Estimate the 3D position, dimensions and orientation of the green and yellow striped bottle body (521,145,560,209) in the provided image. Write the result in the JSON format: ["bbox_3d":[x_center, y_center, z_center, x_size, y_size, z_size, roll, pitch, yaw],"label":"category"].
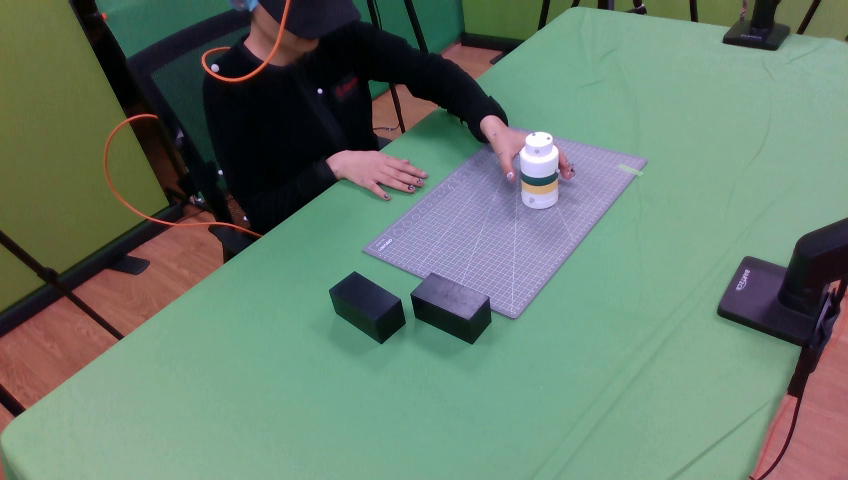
[{"bbox_3d":[0.193,-0.116,1.002,0.063,0.120,0.063,-6,40,5],"label":"green and yellow striped bottle body"}]

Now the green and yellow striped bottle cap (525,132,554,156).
[{"bbox_3d":[0.185,-0.154,0.968,0.045,0.020,0.045,-5,38,5],"label":"green and yellow striped bottle cap"}]
